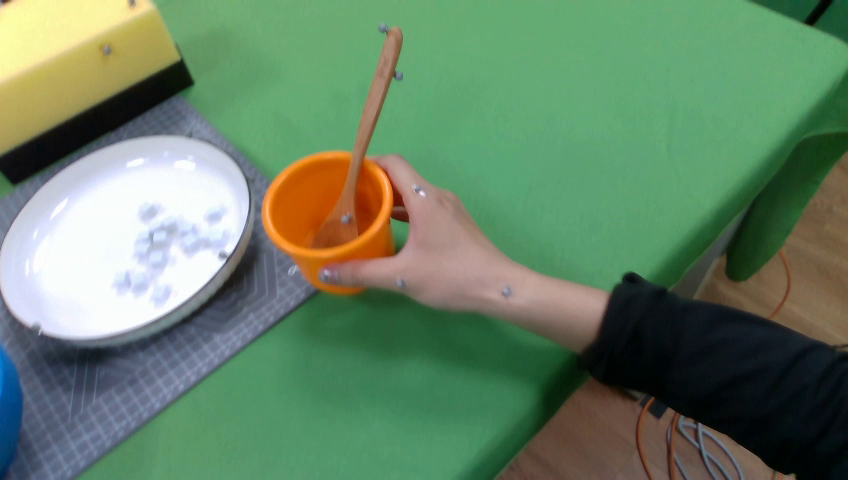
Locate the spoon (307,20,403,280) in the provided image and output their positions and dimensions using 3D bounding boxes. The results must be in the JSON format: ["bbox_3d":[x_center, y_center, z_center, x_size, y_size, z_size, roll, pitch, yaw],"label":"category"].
[{"bbox_3d":[-0.047,-0.060,0.437,0.041,0.194,0.021,24,21,17],"label":"spoon"}]

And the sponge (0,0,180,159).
[{"bbox_3d":[-0.358,-0.167,0.572,0.207,0.061,0.117,-37,60,-20],"label":"sponge"}]

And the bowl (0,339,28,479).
[{"bbox_3d":[-0.330,0.133,0.405,0.151,0.077,0.150,-3,55,4],"label":"bowl"}]

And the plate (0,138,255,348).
[{"bbox_3d":[-0.244,0.000,0.514,0.209,0.038,0.207,-2,55,4],"label":"plate"}]
